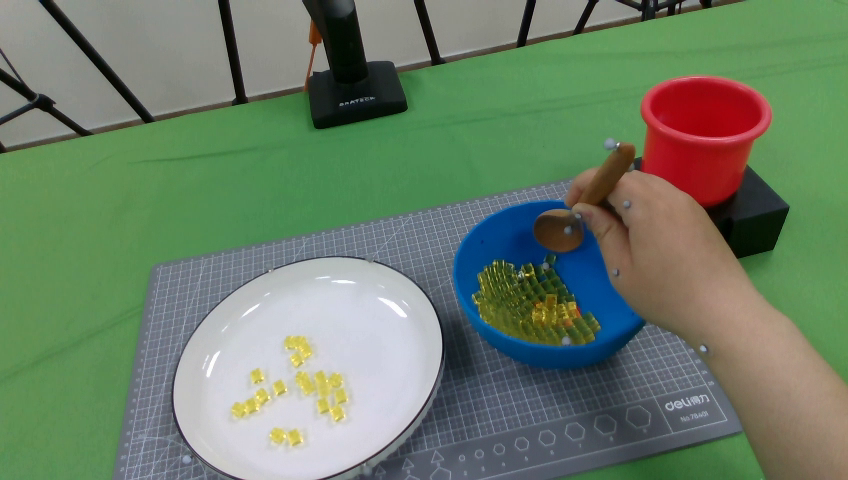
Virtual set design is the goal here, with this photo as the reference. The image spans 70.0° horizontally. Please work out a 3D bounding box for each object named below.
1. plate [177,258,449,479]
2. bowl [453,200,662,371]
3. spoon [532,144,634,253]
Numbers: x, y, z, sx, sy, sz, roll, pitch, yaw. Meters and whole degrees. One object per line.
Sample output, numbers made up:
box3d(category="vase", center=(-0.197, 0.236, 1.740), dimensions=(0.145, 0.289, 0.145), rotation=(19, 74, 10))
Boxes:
box3d(category="plate", center=(-0.082, 0.099, 0.474), dimensions=(0.207, 0.039, 0.205), rotation=(-5, 44, 5))
box3d(category="bowl", center=(0.100, 0.047, 0.469), dimensions=(0.151, 0.077, 0.150), rotation=(-4, 44, 5))
box3d(category="spoon", center=(0.106, -0.021, 0.409), dimensions=(0.041, 0.194, 0.021), rotation=(27, 80, 6))
